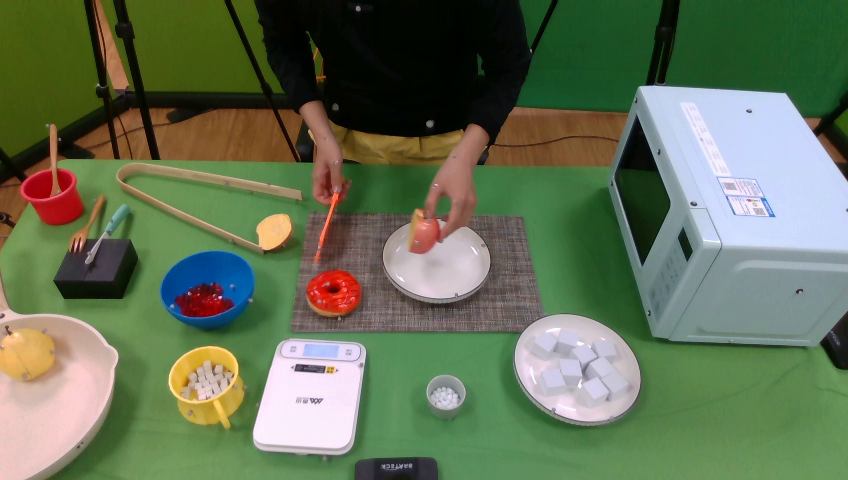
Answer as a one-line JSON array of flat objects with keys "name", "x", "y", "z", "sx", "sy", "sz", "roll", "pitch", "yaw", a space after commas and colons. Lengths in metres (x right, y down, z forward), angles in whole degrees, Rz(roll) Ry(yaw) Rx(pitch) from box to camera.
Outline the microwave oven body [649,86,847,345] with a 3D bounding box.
[{"name": "microwave oven body", "x": 0.568, "y": -0.053, "z": 1.118, "sx": 0.326, "sy": 0.261, "sz": 0.439, "roll": 2, "pitch": 45, "yaw": -1}]

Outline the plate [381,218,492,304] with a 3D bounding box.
[{"name": "plate", "x": 0.023, "y": 0.042, "z": 1.143, "sx": 0.209, "sy": 0.038, "sz": 0.208, "roll": 2, "pitch": 46, "yaw": -2}]

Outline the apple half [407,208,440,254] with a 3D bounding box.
[{"name": "apple half", "x": 0.000, "y": -0.012, "z": 1.097, "sx": 0.053, "sy": 0.075, "sz": 0.080, "roll": 13, "pitch": 26, "yaw": -6}]

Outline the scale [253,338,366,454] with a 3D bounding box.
[{"name": "scale", "x": -0.175, "y": 0.236, "z": 0.951, "sx": 0.149, "sy": 0.032, "sz": 0.199, "roll": 4, "pitch": 45, "yaw": -1}]

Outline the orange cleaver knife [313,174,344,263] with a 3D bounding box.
[{"name": "orange cleaver knife", "x": -0.187, "y": -0.045, "z": 1.186, "sx": 0.012, "sy": 0.077, "sz": 0.210, "roll": 16, "pitch": 45, "yaw": -7}]

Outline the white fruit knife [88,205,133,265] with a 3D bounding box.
[{"name": "white fruit knife", "x": -0.583, "y": -0.013, "z": 1.129, "sx": 0.016, "sy": 0.027, "sz": 0.206, "roll": -1, "pitch": 32, "yaw": -4}]

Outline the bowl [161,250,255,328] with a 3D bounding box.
[{"name": "bowl", "x": -0.362, "y": 0.098, "z": 1.039, "sx": 0.151, "sy": 0.077, "sz": 0.150, "roll": 2, "pitch": 45, "yaw": -2}]

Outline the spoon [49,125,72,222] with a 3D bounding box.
[{"name": "spoon", "x": -0.718, "y": -0.131, "z": 1.189, "sx": 0.041, "sy": 0.021, "sz": 0.193, "roll": -4, "pitch": 90, "yaw": -7}]

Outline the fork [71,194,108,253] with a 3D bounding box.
[{"name": "fork", "x": -0.634, "y": -0.036, "z": 1.158, "sx": 0.028, "sy": 0.019, "sz": 0.206, "roll": -8, "pitch": 32, "yaw": -8}]

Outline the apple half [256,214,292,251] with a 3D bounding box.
[{"name": "apple half", "x": -0.285, "y": -0.011, "z": 1.176, "sx": 0.081, "sy": 0.033, "sz": 0.081, "roll": -10, "pitch": 60, "yaw": 18}]

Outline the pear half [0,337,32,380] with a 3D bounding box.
[{"name": "pear half", "x": -0.631, "y": 0.184, "z": 0.921, "sx": 0.070, "sy": 0.088, "sz": 0.031, "roll": 29, "pitch": 49, "yaw": 19}]

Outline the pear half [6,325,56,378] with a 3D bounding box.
[{"name": "pear half", "x": -0.608, "y": 0.158, "z": 0.935, "sx": 0.076, "sy": 0.110, "sz": 0.056, "roll": 31, "pitch": 51, "yaw": 20}]

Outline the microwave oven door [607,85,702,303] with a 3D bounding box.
[{"name": "microwave oven door", "x": 0.423, "y": -0.094, "z": 1.140, "sx": 0.039, "sy": 0.245, "sz": 0.353, "roll": 2, "pitch": 46, "yaw": -1}]

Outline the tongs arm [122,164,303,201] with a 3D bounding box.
[{"name": "tongs arm", "x": -0.444, "y": -0.113, "z": 1.268, "sx": 0.384, "sy": 0.026, "sz": 0.050, "roll": 12, "pitch": 50, "yaw": 8}]

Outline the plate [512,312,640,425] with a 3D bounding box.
[{"name": "plate", "x": 0.246, "y": 0.213, "z": 0.999, "sx": 0.208, "sy": 0.039, "sz": 0.206, "roll": 2, "pitch": 46, "yaw": -2}]

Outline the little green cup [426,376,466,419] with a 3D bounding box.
[{"name": "little green cup", "x": 0.033, "y": 0.248, "z": 0.950, "sx": 0.061, "sy": 0.039, "sz": 0.061, "roll": 2, "pitch": 46, "yaw": -2}]

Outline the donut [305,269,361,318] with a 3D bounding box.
[{"name": "donut", "x": -0.160, "y": 0.094, "z": 1.075, "sx": 0.099, "sy": 0.048, "sz": 0.098, "roll": 4, "pitch": 45, "yaw": -3}]

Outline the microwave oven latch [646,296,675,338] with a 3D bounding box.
[{"name": "microwave oven latch", "x": 0.412, "y": 0.134, "z": 1.061, "sx": 0.030, "sy": 0.029, "sz": 0.078, "roll": 4, "pitch": 45, "yaw": 1}]

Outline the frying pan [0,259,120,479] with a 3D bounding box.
[{"name": "frying pan", "x": -0.647, "y": 0.164, "z": 0.936, "sx": 0.307, "sy": 0.103, "sz": 0.485, "roll": -19, "pitch": 58, "yaw": -22}]

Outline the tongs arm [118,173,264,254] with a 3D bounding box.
[{"name": "tongs arm", "x": -0.474, "y": -0.054, "z": 1.212, "sx": 0.386, "sy": 0.028, "sz": 0.028, "roll": 23, "pitch": 56, "yaw": 18}]

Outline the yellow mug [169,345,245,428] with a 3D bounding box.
[{"name": "yellow mug", "x": -0.322, "y": 0.230, "z": 0.922, "sx": 0.100, "sy": 0.064, "sz": 0.130, "roll": -24, "pitch": 53, "yaw": -25}]
